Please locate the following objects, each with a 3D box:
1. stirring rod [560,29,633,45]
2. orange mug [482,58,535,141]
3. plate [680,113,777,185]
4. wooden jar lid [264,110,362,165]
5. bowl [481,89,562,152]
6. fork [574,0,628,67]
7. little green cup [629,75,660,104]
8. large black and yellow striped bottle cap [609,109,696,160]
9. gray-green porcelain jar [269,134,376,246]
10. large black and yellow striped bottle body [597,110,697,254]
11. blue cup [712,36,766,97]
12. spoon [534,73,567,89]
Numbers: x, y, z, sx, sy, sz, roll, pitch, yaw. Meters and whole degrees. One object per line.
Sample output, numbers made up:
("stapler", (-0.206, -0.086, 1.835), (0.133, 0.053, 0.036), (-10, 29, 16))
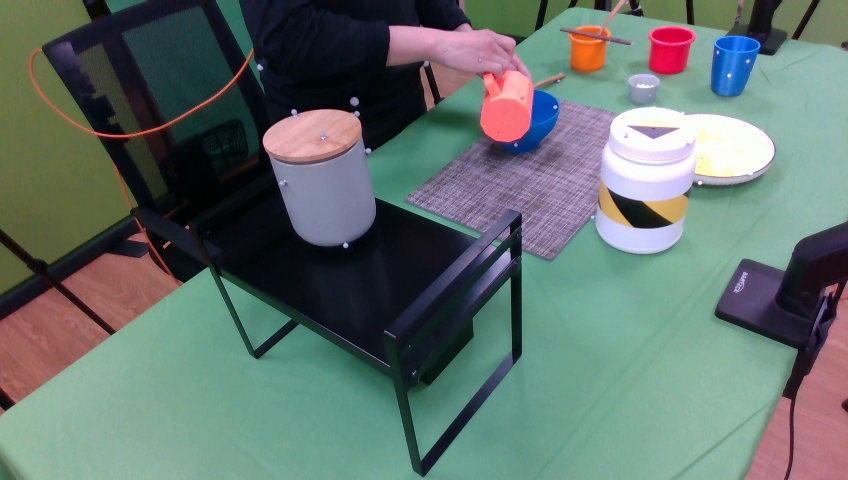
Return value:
("stirring rod", (0.381, -0.452, 1.345), (0.174, 0.006, 0.014), (25, 49, 33))
("orange mug", (0.140, -0.249, 1.048), (0.083, 0.127, 0.100), (-16, 34, 26))
("plate", (0.506, -0.158, 1.073), (0.209, 0.038, 0.208), (-5, 40, 4))
("wooden jar lid", (-0.122, -0.112, 0.673), (0.108, 0.021, 0.108), (-5, 37, 4))
("bowl", (0.186, -0.222, 1.161), (0.151, 0.077, 0.150), (-5, 40, 4))
("fork", (0.413, -0.481, 1.377), (0.207, 0.019, 0.028), (-56, 43, 12))
("little green cup", (0.457, -0.314, 1.260), (0.061, 0.039, 0.061), (-4, 40, 4))
("large black and yellow striped bottle cap", (0.319, -0.150, 0.849), (0.115, 0.019, 0.114), (-4, 39, 3))
("gray-green porcelain jar", (-0.115, -0.064, 0.715), (0.106, 0.127, 0.105), (-4, 40, 4))
("large black and yellow striped bottle body", (0.331, -0.086, 0.904), (0.131, 0.185, 0.130), (-5, 41, 4))
("blue cup", (0.627, -0.350, 1.227), (0.092, 0.100, 0.092), (-4, 39, 4))
("spoon", (0.250, -0.336, 1.332), (0.194, 0.022, 0.041), (-32, 32, -26))
